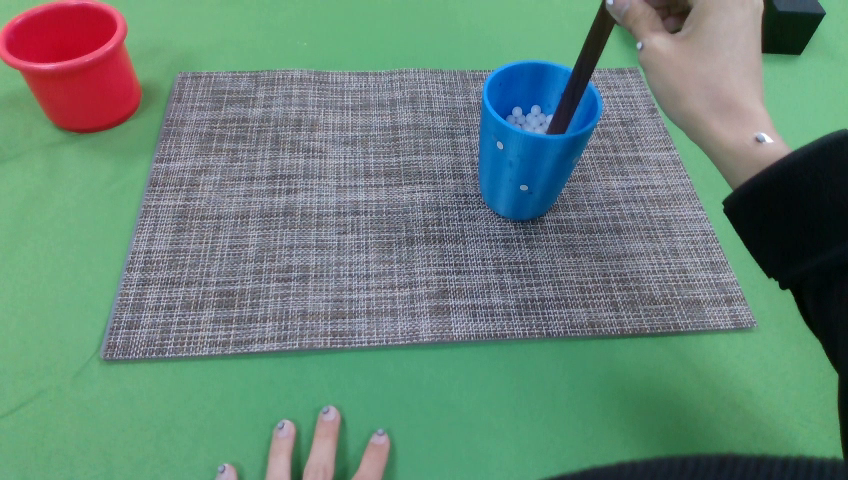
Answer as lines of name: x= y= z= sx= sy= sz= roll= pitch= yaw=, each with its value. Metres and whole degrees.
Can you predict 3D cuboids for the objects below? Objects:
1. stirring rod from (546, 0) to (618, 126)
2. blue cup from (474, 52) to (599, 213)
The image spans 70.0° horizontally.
stirring rod: x=0.110 y=-0.136 z=0.394 sx=0.014 sy=0.177 sz=0.006 roll=22 pitch=50 yaw=5
blue cup: x=0.076 y=-0.074 z=0.460 sx=0.093 sy=0.101 sz=0.091 roll=3 pitch=52 yaw=-3
